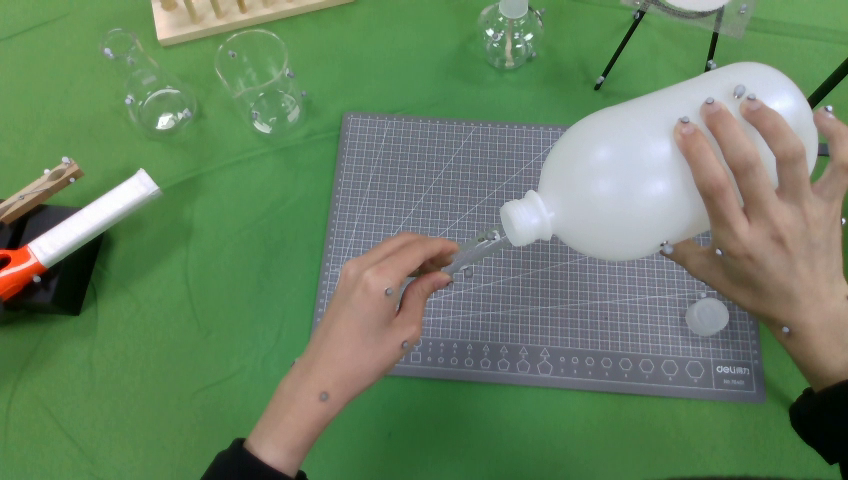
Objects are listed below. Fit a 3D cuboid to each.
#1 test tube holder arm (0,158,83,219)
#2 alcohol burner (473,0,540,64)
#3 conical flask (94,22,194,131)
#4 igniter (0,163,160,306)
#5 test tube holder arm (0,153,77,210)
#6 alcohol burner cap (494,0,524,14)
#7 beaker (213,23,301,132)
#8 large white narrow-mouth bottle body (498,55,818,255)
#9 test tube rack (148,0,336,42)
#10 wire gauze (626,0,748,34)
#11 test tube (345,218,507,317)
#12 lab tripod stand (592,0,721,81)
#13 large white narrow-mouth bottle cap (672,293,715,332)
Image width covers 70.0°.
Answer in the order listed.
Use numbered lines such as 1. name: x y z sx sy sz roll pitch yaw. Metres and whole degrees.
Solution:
1. test tube holder arm: -0.386 -0.051 0.606 0.088 0.015 0.010 -38 73 -14
2. alcohol burner: 0.095 -0.257 0.685 0.078 0.120 0.077 1 68 -1
3. conical flask: -0.304 -0.178 0.649 0.075 0.122 0.075 0 69 0
4. igniter: -0.382 0.016 0.577 0.276 0.025 0.057 -39 76 -17
5. test tube holder arm: -0.424 -0.028 0.597 0.178 0.015 0.013 -39 74 -14
6. alcohol burner cap: 0.094 -0.272 0.651 0.034 0.048 0.033 0 68 -1
7. beaker: -0.178 -0.169 0.659 0.074 0.101 0.083 18 71 8
8. large white narrow-mouth bottle body: 0.142 -0.045 0.398 0.195 0.102 0.101 -21 70 -7
9. test tube rack: -0.217 -0.318 0.721 0.242 0.086 0.066 -16 70 -6
10. wire gauze: 0.271 -0.269 0.607 0.121 0.011 0.124 25 72 7
11. test tube: -0.004 0.024 0.436 0.150 0.017 0.017 -30 66 31
12. lab tripod stand: 0.264 -0.244 0.669 0.148 0.132 0.147 1 68 -1
13. large white narrow-mouth bottle cap: 0.271 0.073 0.609 0.038 0.024 0.037 0 71 1
